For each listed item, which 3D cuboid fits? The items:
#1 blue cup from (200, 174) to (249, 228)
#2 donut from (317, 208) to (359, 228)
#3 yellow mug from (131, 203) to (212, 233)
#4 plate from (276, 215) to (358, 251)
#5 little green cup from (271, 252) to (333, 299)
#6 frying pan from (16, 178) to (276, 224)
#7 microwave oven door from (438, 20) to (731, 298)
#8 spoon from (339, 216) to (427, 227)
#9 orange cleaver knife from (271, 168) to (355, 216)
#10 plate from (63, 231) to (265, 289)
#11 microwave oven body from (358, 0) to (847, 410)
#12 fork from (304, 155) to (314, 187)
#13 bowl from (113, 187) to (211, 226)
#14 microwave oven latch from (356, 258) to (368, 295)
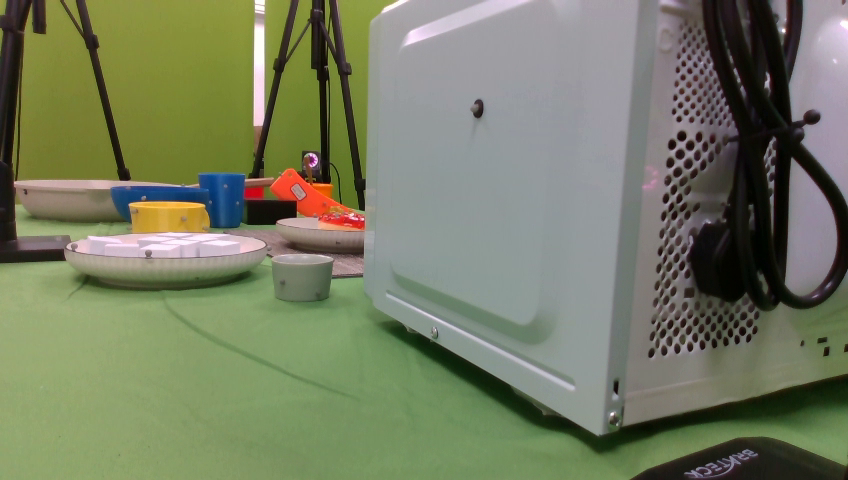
[{"bbox_3d":[-0.380,-0.076,1.155,0.093,0.100,0.092,0,8,0],"label":"blue cup"},{"bbox_3d":[-0.118,-0.024,0.954,0.099,0.048,0.099,6,7,0],"label":"donut"},{"bbox_3d":[-0.356,-0.020,0.878,0.099,0.064,0.131,5,7,22],"label":"yellow mug"},{"bbox_3d":[-0.126,-0.012,0.950,0.209,0.038,0.209,2,7,0],"label":"plate"},{"bbox_3d":[-0.122,0.035,0.605,0.061,0.038,0.061,3,6,0],"label":"little green cup"},{"bbox_3d":[-0.554,-0.097,1.266,0.490,0.102,0.305,-10,13,-24],"label":"frying pan"},{"bbox_3d":[0.181,-0.076,0.618,0.358,0.243,0.039,-2,8,-28],"label":"microwave oven door"},{"bbox_3d":[-0.087,-0.041,1.268,0.193,0.021,0.041,4,24,13],"label":"spoon"},{"bbox_3d":[-0.236,-0.084,1.333,0.212,0.077,0.012,31,-10,-32],"label":"orange cleaver knife"},{"bbox_3d":[-0.288,0.021,0.687,0.208,0.039,0.207,2,8,0],"label":"plate"},{"bbox_3d":[0.210,-0.051,0.471,0.444,0.260,0.324,-1,7,-28],"label":"microwave oven body"},{"bbox_3d":[-0.268,-0.134,1.447,0.028,0.018,0.207,2,-36,-1],"label":"fork"},{"bbox_3d":[-0.436,-0.046,1.013,0.151,0.077,0.151,2,7,0],"label":"bowl"},{"bbox_3d":[-0.019,0.031,0.529,0.079,0.029,0.030,-1,7,-26],"label":"microwave oven latch"}]
